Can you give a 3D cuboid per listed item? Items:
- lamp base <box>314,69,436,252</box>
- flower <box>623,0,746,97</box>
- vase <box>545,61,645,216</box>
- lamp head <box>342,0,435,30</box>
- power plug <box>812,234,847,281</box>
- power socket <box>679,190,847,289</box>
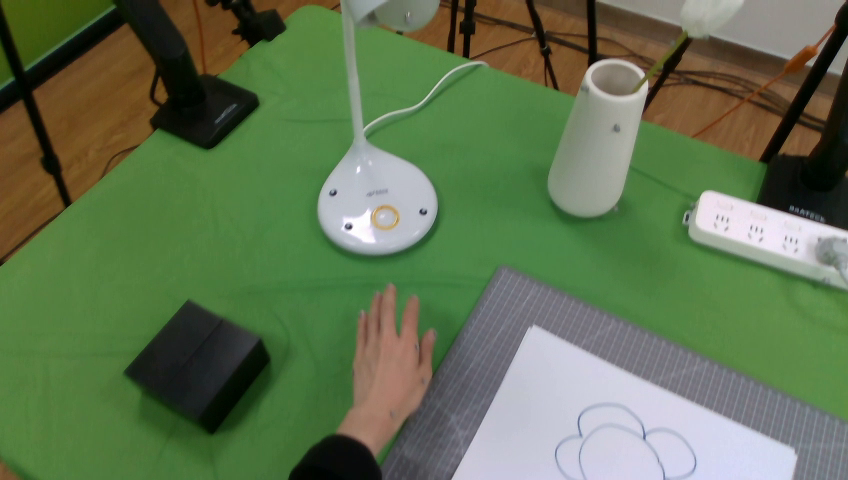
[{"bbox_3d":[-0.071,-0.104,0.748,0.161,0.182,0.177,-22,55,-15],"label":"lamp base"},{"bbox_3d":[0.221,-0.154,0.671,0.044,0.363,0.038,-10,72,-17],"label":"flower"},{"bbox_3d":[0.209,-0.120,0.748,0.098,0.202,0.097,-1,54,1],"label":"vase"},{"bbox_3d":[-0.033,-0.248,0.495,0.112,0.112,0.123,-29,98,-19],"label":"lamp head"},{"bbox_3d":[0.477,0.023,0.721,0.035,0.053,0.072,29,66,19],"label":"power plug"},{"bbox_3d":[0.443,-0.003,0.767,0.226,0.033,0.072,20,58,13],"label":"power socket"}]
